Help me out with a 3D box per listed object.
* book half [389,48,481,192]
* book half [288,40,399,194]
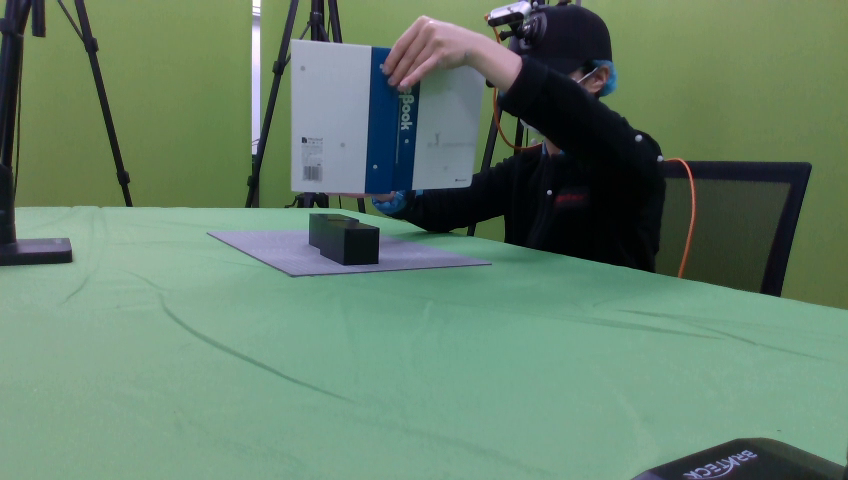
[{"bbox_3d":[0.015,-0.177,0.915,0.144,0.210,0.007,-6,21,-26],"label":"book half"},{"bbox_3d":[-0.116,-0.168,0.857,0.149,0.210,0.016,0,22,-15],"label":"book half"}]
